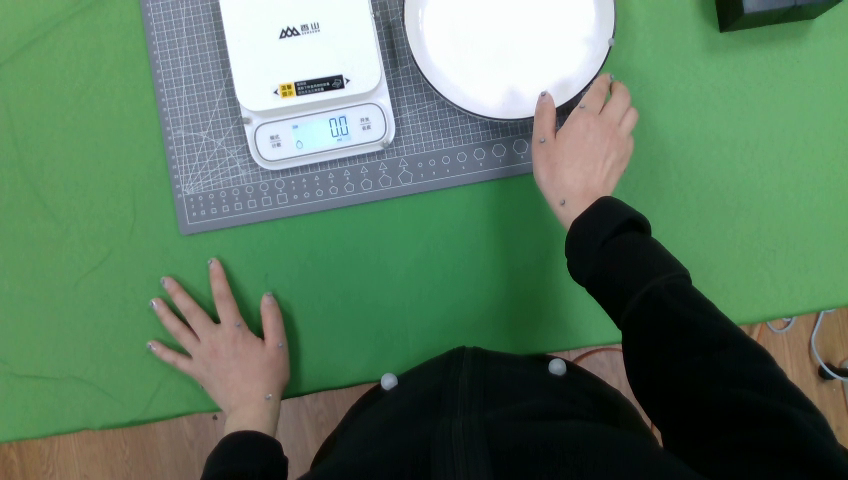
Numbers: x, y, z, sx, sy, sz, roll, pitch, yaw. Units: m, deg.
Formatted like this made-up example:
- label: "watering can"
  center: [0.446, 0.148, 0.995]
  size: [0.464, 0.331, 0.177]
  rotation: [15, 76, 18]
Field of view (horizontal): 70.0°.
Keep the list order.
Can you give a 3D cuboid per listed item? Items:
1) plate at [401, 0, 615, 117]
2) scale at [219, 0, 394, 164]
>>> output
- label: "plate"
  center: [0.082, -0.223, 0.603]
  size: [0.209, 0.038, 0.209]
  rotation: [0, 89, 0]
- label: "scale"
  center: [-0.118, -0.185, 0.607]
  size: [0.149, 0.031, 0.201]
  rotation: [-11, 90, 0]
